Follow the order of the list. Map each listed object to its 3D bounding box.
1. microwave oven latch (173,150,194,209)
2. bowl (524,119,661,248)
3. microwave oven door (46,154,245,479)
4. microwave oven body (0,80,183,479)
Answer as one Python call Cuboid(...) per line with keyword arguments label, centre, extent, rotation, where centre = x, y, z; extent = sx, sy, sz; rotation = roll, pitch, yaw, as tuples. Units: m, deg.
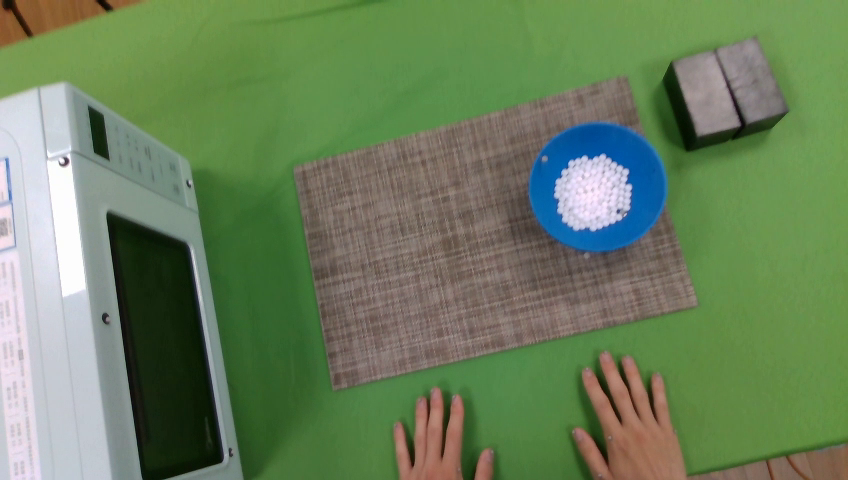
Cuboid(label="microwave oven latch", centre=(-0.328, -0.077, 0.801), extent=(0.030, 0.029, 0.079), rotation=(-16, 78, 5))
Cuboid(label="bowl", centre=(0.193, -0.057, 0.714), extent=(0.151, 0.077, 0.150), rotation=(-2, 79, 8))
Cuboid(label="microwave oven door", centre=(-0.292, 0.109, 0.655), extent=(0.039, 0.245, 0.354), rotation=(-16, 77, 5))
Cuboid(label="microwave oven body", centre=(-0.441, 0.110, 0.682), extent=(0.326, 0.261, 0.439), rotation=(-16, 78, 4))
